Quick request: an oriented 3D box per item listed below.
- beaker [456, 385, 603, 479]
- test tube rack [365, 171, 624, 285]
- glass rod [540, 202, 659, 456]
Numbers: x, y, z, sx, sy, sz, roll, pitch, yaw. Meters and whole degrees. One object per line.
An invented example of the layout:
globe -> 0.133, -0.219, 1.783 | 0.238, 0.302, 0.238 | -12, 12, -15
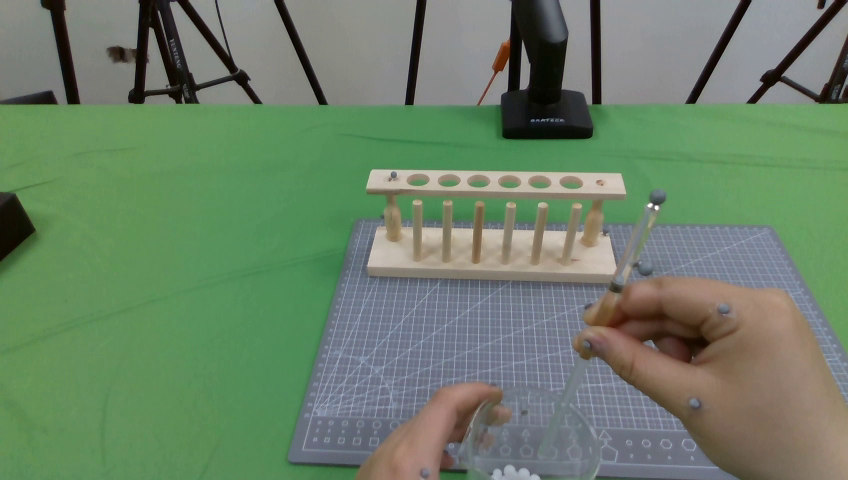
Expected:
beaker -> 0.057, 0.151, 0.370 | 0.084, 0.101, 0.073 | -8, 39, -13
test tube rack -> 0.065, -0.012, 0.592 | 0.242, 0.086, 0.066 | 1, 39, 5
glass rod -> 0.083, 0.059, 0.305 | 0.008, 0.201, 0.008 | 3, 43, -3
